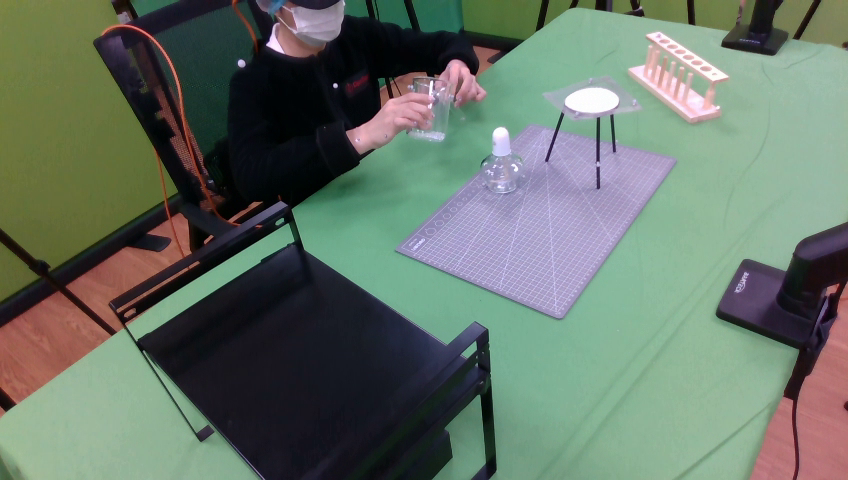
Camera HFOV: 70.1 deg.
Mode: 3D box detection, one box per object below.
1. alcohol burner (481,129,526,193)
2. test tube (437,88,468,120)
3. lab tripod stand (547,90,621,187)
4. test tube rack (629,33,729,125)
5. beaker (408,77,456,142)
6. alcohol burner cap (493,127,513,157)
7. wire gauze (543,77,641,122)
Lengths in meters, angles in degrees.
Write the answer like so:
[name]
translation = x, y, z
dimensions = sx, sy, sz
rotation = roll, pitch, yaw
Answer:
[alcohol burner]
translation = 0.138, -0.142, 1.052
dimensions = 0.078, 0.119, 0.077
rotation = -5, 42, 5
[test tube]
translation = 0.058, -0.260, 1.169
dimensions = 0.017, 0.151, 0.017
rotation = -3, 81, 21
[lab tripod stand]
translation = 0.289, -0.184, 1.062
dimensions = 0.148, 0.132, 0.147
rotation = -6, 41, 6
[test tube rack]
translation = 0.516, -0.337, 1.247
dimensions = 0.067, 0.085, 0.240
rotation = -14, 41, -7
[beaker]
translation = 0.012, -0.225, 1.055
dimensions = 0.074, 0.100, 0.084
rotation = 9, 3, 6
[alcohol burner cap]
translation = 0.132, -0.169, 1.030
dimensions = 0.034, 0.048, 0.033
rotation = -7, 36, 5
[wire gauze]
translation = 0.282, -0.236, 1.020
dimensions = 0.125, 0.011, 0.120
rotation = -15, 40, -6
